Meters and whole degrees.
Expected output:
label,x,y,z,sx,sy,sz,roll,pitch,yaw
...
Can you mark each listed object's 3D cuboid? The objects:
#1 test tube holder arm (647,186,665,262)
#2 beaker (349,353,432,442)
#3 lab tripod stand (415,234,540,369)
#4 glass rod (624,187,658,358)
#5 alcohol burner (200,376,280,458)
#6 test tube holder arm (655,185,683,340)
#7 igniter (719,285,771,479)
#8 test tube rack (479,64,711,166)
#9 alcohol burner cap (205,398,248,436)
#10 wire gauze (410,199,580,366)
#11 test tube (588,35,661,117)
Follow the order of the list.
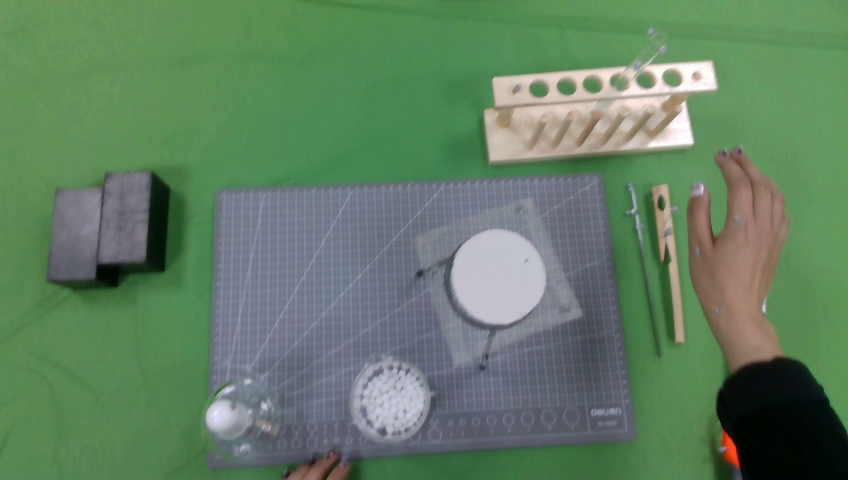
label,x,y,z,sx,sy,sz,roll,pitch,yaw
test tube holder arm,0.270,-0.018,0.699,0.010,0.015,0.087,-11,75,29
beaker,-0.035,0.155,0.600,0.074,0.100,0.083,-24,77,-8
lab tripod stand,0.055,0.053,0.611,0.148,0.132,0.147,0,77,0
glass rod,0.246,0.033,0.689,0.008,0.008,0.198,-4,76,-3
alcohol burner,-0.182,0.170,0.584,0.078,0.119,0.077,0,73,-1
test tube holder arm,0.277,0.024,0.686,0.013,0.015,0.177,-11,75,29
igniter,0.343,0.185,0.646,0.057,0.025,0.275,11,76,-9
test tube rack,0.191,-0.141,0.691,0.242,0.085,0.066,-5,76,-3
alcohol burner cap,-0.181,0.159,0.550,0.034,0.048,0.033,1,66,-2
wire gauze,0.062,0.034,0.547,0.121,0.011,0.124,-19,77,-5
test tube,0.210,-0.170,0.649,0.017,0.150,0.017,2,74,-7
